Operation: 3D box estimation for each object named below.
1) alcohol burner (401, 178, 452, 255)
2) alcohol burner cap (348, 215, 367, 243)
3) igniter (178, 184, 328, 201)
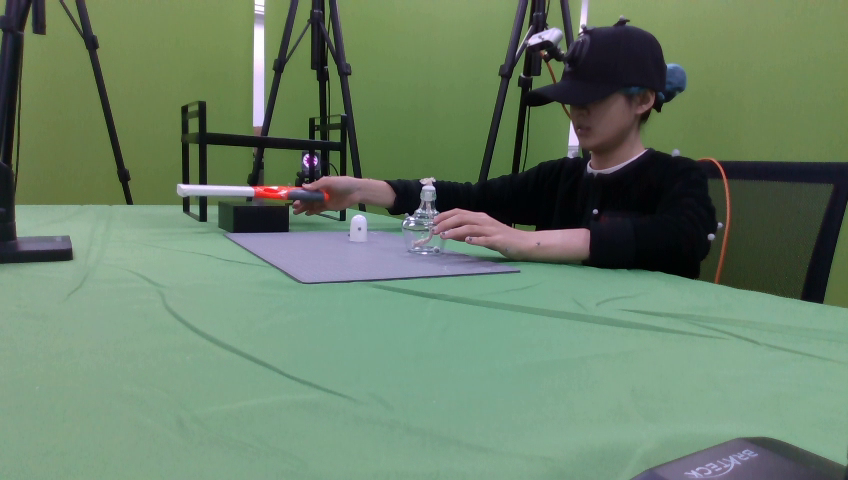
[{"bbox_3d":[0.005,-0.036,0.923,0.078,0.119,0.078,5,7,0],"label":"alcohol burner"},{"bbox_3d":[-0.112,-0.019,1.025,0.034,0.048,0.034,2,6,0],"label":"alcohol burner cap"},{"bbox_3d":[-0.313,-0.089,1.137,0.278,0.025,0.057,-1,17,-34],"label":"igniter"}]
